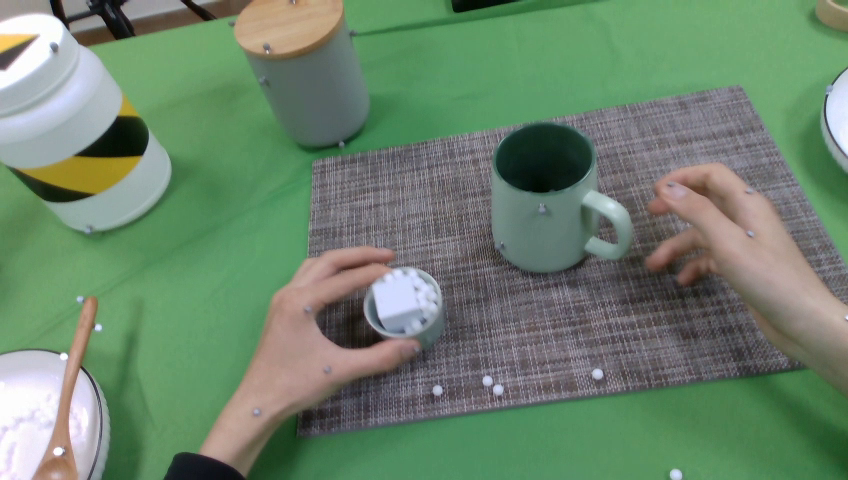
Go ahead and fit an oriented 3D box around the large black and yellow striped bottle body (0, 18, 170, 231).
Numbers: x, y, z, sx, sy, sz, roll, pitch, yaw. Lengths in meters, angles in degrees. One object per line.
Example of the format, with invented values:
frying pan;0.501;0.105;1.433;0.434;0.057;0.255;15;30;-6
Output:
large black and yellow striped bottle body;-0.359;-0.110;0.605;0.130;0.186;0.129;-5;54;8

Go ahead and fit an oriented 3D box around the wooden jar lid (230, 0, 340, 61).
wooden jar lid;-0.133;-0.207;0.590;0.108;0.021;0.107;-5;57;8

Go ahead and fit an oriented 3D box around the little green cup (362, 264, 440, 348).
little green cup;-0.016;0.054;0.479;0.061;0.039;0.061;-6;53;8

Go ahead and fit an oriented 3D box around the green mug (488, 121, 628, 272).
green mug;0.110;-0.027;0.498;0.124;0.106;0.092;31;65;29

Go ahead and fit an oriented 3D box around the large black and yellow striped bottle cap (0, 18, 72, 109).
large black and yellow striped bottle cap;-0.373;-0.157;0.537;0.115;0.019;0.114;-5;53;8

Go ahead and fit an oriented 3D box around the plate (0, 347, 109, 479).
plate;-0.347;0.186;0.481;0.209;0.038;0.207;-5;54;7

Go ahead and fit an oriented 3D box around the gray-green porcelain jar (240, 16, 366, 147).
gray-green porcelain jar;-0.122;-0.171;0.639;0.106;0.128;0.105;-5;54;7

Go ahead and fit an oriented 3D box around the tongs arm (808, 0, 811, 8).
tongs arm;0.603;-0.241;0.601;0.383;0.027;0.050;12;63;20

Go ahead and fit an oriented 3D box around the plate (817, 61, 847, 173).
plate;0.454;-0.094;0.524;0.207;0.039;0.205;-5;54;8

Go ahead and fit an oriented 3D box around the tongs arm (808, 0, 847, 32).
tongs arm;0.570;-0.179;0.568;0.384;0.028;0.028;24;71;26

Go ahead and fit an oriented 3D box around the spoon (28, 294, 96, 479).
spoon;-0.290;0.129;0.491;0.041;0.022;0.192;-7;62;5
